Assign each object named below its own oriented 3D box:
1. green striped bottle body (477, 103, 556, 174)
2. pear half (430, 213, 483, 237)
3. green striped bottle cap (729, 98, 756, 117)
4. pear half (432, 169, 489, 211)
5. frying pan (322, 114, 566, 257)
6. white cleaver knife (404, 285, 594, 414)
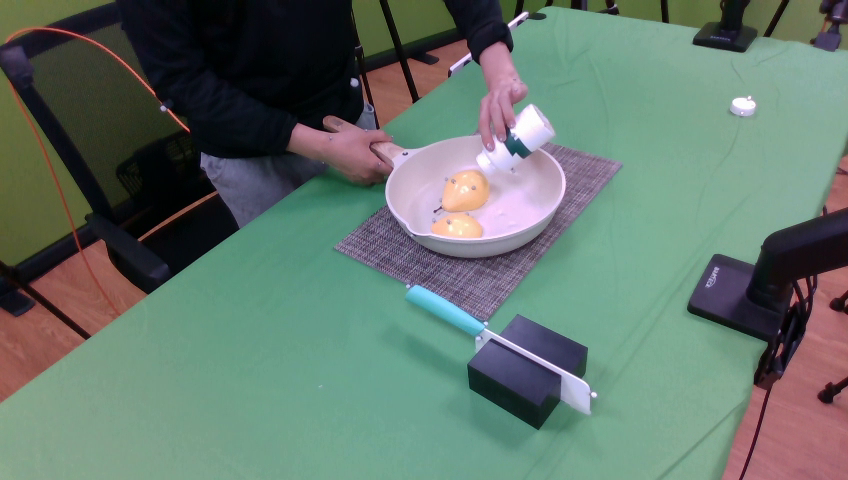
[{"bbox_3d":[0.139,-0.152,0.942,0.119,0.063,0.063,-37,34,23],"label":"green striped bottle body"},{"bbox_3d":[0.050,-0.024,0.972,0.087,0.031,0.070,14,41,18],"label":"pear half"},{"bbox_3d":[0.623,-0.259,1.182,0.044,0.020,0.044,-3,41,3],"label":"green striped bottle cap"},{"bbox_3d":[0.057,-0.083,1.023,0.110,0.056,0.075,-33,41,-24],"label":"pear half"},{"bbox_3d":[0.004,-0.121,1.039,0.484,0.103,0.308,31,52,25],"label":"frying pan"},{"bbox_3d":[0.084,0.135,0.764,0.284,0.066,0.021,28,47,31],"label":"white cleaver knife"}]
